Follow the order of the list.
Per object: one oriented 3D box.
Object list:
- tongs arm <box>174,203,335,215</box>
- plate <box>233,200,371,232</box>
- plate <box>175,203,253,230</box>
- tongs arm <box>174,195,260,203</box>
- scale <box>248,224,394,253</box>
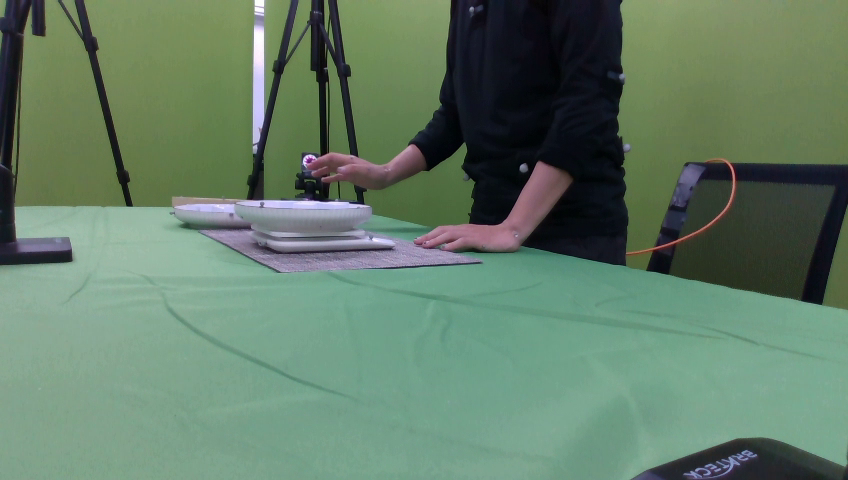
[{"bbox_3d":[-0.384,-0.073,1.429,0.390,0.028,0.028,-1,5,-33],"label":"tongs arm"},{"bbox_3d":[-0.188,-0.039,0.939,0.209,0.038,0.209,2,7,0],"label":"plate"},{"bbox_3d":[-0.381,-0.047,1.199,0.208,0.039,0.207,3,7,0],"label":"plate"},{"bbox_3d":[-0.418,-0.088,1.508,0.386,0.026,0.050,2,7,-18],"label":"tongs arm"},{"bbox_3d":[-0.162,-0.006,0.954,0.202,0.031,0.148,-2,8,-32],"label":"scale"}]
